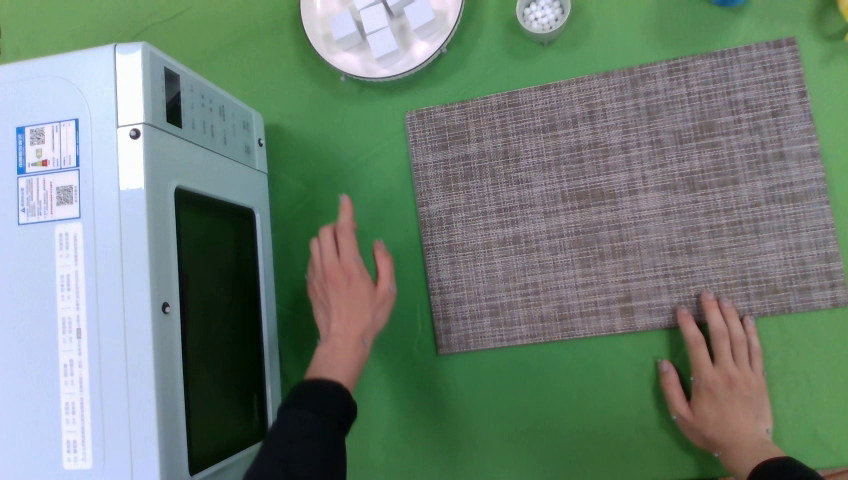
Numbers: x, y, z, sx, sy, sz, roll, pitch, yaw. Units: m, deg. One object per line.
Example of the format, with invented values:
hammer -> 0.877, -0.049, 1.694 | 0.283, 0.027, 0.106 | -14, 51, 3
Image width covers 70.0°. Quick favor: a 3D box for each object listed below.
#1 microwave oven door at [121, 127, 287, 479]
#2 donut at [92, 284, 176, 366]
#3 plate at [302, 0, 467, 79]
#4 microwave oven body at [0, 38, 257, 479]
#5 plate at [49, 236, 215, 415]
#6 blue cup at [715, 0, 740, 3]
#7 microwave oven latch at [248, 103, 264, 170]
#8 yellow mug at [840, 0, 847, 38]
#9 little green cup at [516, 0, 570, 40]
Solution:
microwave oven door -> -0.221, 0.083, 0.637 | 0.039, 0.245, 0.355 | -6, 85, 11
donut -> -0.338, 0.100, 0.708 | 0.099, 0.048, 0.099 | 1, 96, 8
plate -> -0.047, -0.297, 0.749 | 0.207, 0.039, 0.207 | -1, 86, 11
microwave oven body -> -0.365, 0.056, 0.673 | 0.325, 0.261, 0.440 | -6, 86, 11
plate -> -0.340, 0.099, 0.718 | 0.209, 0.038, 0.208 | -1, 86, 11
blue cup -> 0.337, -0.301, 0.641 | 0.092, 0.100, 0.092 | 0, 87, 11
microwave oven latch -> -0.217, -0.127, 0.753 | 0.030, 0.029, 0.079 | -4, 86, 11
yellow mug -> 0.487, -0.264, 0.626 | 0.099, 0.064, 0.131 | 40, 96, 11
little green cup -> 0.140, -0.266, 0.710 | 0.061, 0.039, 0.061 | -1, 86, 12
